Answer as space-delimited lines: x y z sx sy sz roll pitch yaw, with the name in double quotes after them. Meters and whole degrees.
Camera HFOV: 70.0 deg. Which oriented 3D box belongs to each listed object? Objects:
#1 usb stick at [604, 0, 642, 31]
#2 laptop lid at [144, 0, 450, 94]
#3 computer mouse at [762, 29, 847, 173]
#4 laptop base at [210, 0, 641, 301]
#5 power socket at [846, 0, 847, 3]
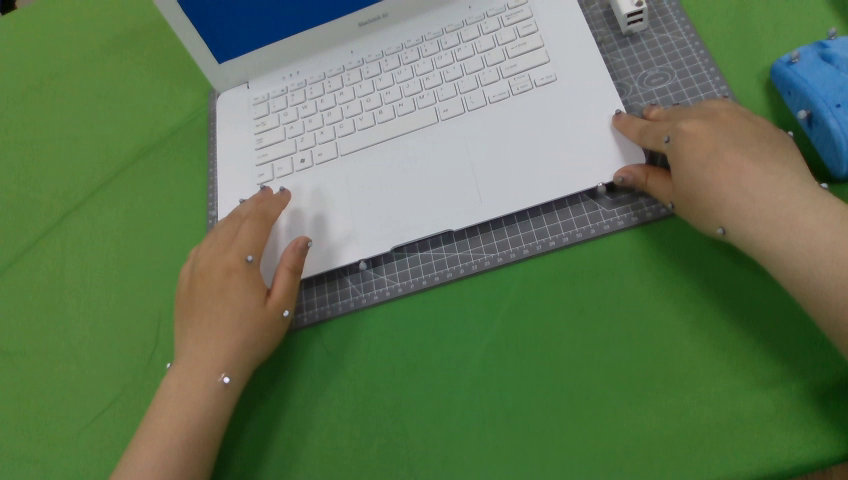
0.164 -0.207 0.511 0.021 0.027 0.058 -17 57 14 "usb stick"
-0.085 -0.270 0.501 0.356 0.244 0.013 -19 46 11 "laptop lid"
0.284 -0.100 0.410 0.063 0.041 0.116 -18 55 12 "computer mouse"
-0.024 -0.097 0.526 0.354 0.023 0.233 -18 62 9 "laptop base"
0.343 -0.234 0.462 0.072 0.033 0.224 -15 60 12 "power socket"
